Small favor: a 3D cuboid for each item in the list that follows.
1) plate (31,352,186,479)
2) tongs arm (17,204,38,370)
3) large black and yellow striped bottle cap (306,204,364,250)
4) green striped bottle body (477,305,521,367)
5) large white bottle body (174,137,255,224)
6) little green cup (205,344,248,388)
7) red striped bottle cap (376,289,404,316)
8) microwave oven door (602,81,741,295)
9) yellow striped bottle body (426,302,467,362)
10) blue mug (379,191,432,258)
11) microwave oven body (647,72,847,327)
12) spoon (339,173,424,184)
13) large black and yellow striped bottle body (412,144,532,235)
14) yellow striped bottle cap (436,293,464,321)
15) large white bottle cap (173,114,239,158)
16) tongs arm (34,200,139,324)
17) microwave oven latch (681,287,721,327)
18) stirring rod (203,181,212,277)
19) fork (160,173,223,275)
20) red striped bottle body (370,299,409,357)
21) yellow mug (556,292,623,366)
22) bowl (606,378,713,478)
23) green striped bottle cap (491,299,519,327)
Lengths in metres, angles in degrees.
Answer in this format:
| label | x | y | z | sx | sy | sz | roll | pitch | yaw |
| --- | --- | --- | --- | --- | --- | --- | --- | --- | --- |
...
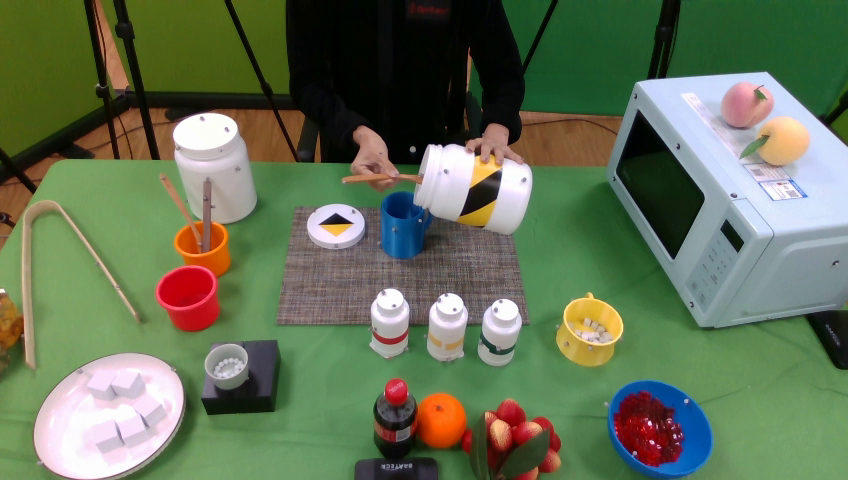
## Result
| label | x | y | z | sx | sy | sz | roll | pitch | yaw |
| --- | --- | --- | --- | --- | --- | --- | --- | --- | --- |
| plate | -0.459 | 0.262 | 0.898 | 0.209 | 0.038 | 0.208 | 2 | 45 | -2 |
| tongs arm | -0.698 | 0.069 | 1.068 | 0.028 | 0.028 | 0.385 | -20 | 50 | -13 |
| large black and yellow striped bottle cap | -0.178 | -0.029 | 1.211 | 0.115 | 0.019 | 0.114 | 2 | 47 | -2 |
| green striped bottle body | 0.124 | 0.151 | 0.995 | 0.063 | 0.120 | 0.063 | 2 | 46 | -2 |
| large white bottle body | -0.408 | -0.136 | 1.183 | 0.131 | 0.185 | 0.130 | 2 | 46 | -2 |
| little green cup | -0.294 | 0.191 | 0.909 | 0.061 | 0.039 | 0.061 | 1 | 48 | -1 |
| red striped bottle cap | -0.054 | 0.098 | 0.958 | 0.044 | 0.018 | 0.044 | 0 | 48 | 0 |
| microwave oven door | 0.456 | -0.107 | 1.162 | 0.039 | 0.245 | 0.353 | -6 | 47 | -11 |
| yellow striped bottle body | 0.037 | 0.142 | 0.996 | 0.063 | 0.121 | 0.062 | 2 | 46 | -2 |
| blue mug | -0.031 | -0.036 | 1.167 | 0.116 | 0.106 | 0.082 | -27 | 54 | -26 |
| microwave oven body | 0.607 | -0.089 | 1.164 | 0.326 | 0.261 | 0.438 | -7 | 46 | -10 |
| spoon | -0.049 | -0.108 | 1.043 | 0.194 | 0.022 | 0.041 | 0 | 54 | -14 |
| large black and yellow striped bottle body | 0.081 | -0.092 | 1.057 | 0.184 | 0.131 | 0.130 | 14 | 45 | -8 |
| yellow striped bottle cap | 0.041 | 0.106 | 0.959 | 0.044 | 0.019 | 0.044 | -1 | 49 | 1 |
| large white bottle cap | -0.403 | -0.195 | 1.122 | 0.115 | 0.018 | 0.114 | 2 | 47 | -2 |
| tongs arm | -0.622 | 0.034 | 1.105 | 0.051 | 0.026 | 0.382 | -32 | 55 | -26 |
| microwave oven latch | 0.494 | 0.119 | 1.087 | 0.030 | 0.029 | 0.078 | -6 | 46 | -9 |
| stirring rod | -0.396 | -0.021 | 1.108 | 0.014 | 0.006 | 0.176 | -1 | 89 | -1 |
| fork | -0.426 | -0.029 | 1.103 | 0.028 | 0.018 | 0.207 | -30 | 99 | -22 |
| red striped bottle body | -0.057 | 0.135 | 0.996 | 0.063 | 0.120 | 0.062 | 2 | 47 | -2 |
| yellow mug | 0.285 | 0.145 | 1.051 | 0.100 | 0.064 | 0.130 | 7 | 45 | 3 |
| bowl | 0.340 | 0.292 | 0.906 | 0.151 | 0.077 | 0.150 | 2 | 46 | -2 |
| green striped bottle cap | 0.128 | 0.115 | 0.958 | 0.044 | 0.020 | 0.044 | 0 | 46 | 0 |
